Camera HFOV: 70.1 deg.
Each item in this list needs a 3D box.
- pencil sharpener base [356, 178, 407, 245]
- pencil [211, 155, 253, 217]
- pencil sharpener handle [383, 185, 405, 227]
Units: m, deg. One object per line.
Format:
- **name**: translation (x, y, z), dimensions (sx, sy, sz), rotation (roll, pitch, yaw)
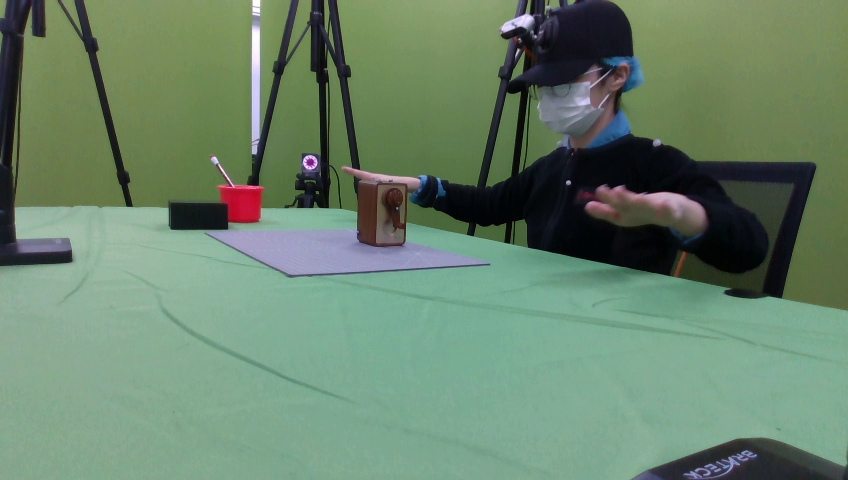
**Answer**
- **pencil sharpener base**: translation (-0.071, -0.049, 1.018), dimensions (0.062, 0.107, 0.076), rotation (-2, 9, -32)
- **pencil**: translation (-0.422, -0.120, 1.331), dimensions (0.012, 0.012, 0.193), rotation (-8, 53, -52)
- **pencil sharpener handle**: translation (-0.043, -0.054, 0.975), dimensions (0.036, 0.067, 0.030), rotation (-9, 13, -31)
